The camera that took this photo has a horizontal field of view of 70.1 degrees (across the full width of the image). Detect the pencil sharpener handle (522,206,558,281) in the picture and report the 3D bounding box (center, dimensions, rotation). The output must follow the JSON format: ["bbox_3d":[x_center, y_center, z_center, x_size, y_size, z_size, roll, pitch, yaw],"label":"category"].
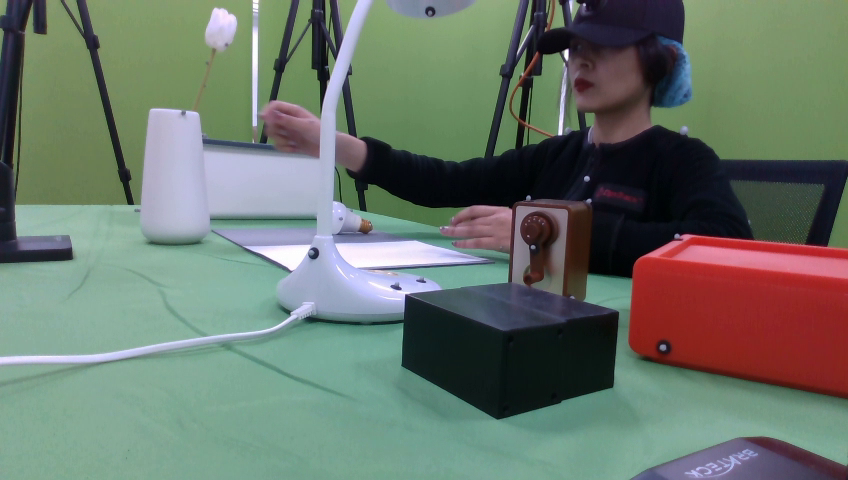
[{"bbox_3d":[0.102,0.003,0.555,0.036,0.067,0.031,0,5,31],"label":"pencil sharpener handle"}]

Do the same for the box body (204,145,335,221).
[{"bbox_3d":[-0.411,-0.135,1.386,0.366,0.160,0.253,-2,9,-29],"label":"box body"}]

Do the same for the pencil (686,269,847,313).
[{"bbox_3d":[0.308,0.045,0.516,0.194,0.012,0.012,13,5,-12],"label":"pencil"}]

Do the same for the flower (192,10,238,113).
[{"bbox_3d":[-0.353,-0.174,0.915,0.038,0.361,0.044,17,-4,15],"label":"flower"}]

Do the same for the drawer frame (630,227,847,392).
[{"bbox_3d":[0.292,0.043,0.484,0.201,0.082,0.214,7,9,29],"label":"drawer frame"}]

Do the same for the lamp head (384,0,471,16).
[{"bbox_3d":[-0.001,-0.301,0.599,0.112,0.112,0.123,4,-30,14],"label":"lamp head"}]

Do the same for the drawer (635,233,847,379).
[{"bbox_3d":[0.292,0.045,0.488,0.193,0.073,0.213,7,10,30],"label":"drawer"}]

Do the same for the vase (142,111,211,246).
[{"bbox_3d":[-0.378,-0.093,0.920,0.098,0.200,0.098,2,9,0],"label":"vase"}]

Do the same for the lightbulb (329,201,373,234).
[{"bbox_3d":[-0.143,-0.036,1.108,0.108,0.059,0.059,15,0,-28],"label":"lightbulb"}]

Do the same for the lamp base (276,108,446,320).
[{"bbox_3d":[-0.061,-0.027,0.556,0.160,0.180,0.180,5,10,20],"label":"lamp base"}]

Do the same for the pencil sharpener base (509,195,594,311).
[{"bbox_3d":[0.126,0.011,0.601,0.061,0.107,0.077,7,9,30],"label":"pencil sharpener base"}]

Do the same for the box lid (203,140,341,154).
[{"bbox_3d":[-0.396,-0.212,1.373,0.373,0.015,0.262,-1,9,-29],"label":"box lid"}]
